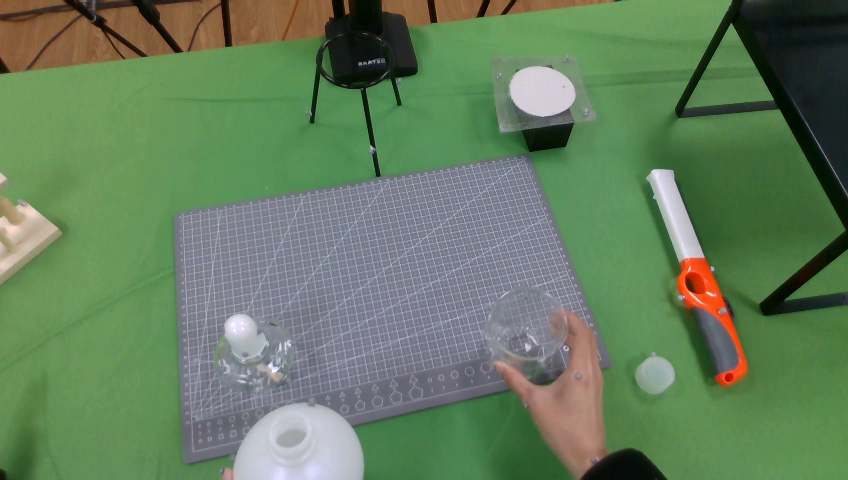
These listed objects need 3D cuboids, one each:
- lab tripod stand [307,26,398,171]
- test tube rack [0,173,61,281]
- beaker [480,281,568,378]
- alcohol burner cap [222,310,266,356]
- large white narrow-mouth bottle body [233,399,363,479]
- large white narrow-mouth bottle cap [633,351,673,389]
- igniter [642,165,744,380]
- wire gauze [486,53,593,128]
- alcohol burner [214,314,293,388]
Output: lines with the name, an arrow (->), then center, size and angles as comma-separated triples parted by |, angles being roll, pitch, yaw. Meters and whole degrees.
lab tripod stand -> -0.082, -0.179, 0.748 | 0.148, 0.132, 0.147 | 2, 61, -3
test tube rack -> -0.525, 0.035, 0.639 | 0.066, 0.086, 0.241 | 34, 65, 16
beaker -> 0.096, 0.096, 0.614 | 0.084, 0.101, 0.073 | -11, 63, -4
alcohol burner cap -> -0.170, 0.085, 0.563 | 0.034, 0.048, 0.033 | -1, 56, 1
large white narrow-mouth bottle body -> -0.100, 0.187, 0.490 | 0.102, 0.196, 0.101 | 3, 52, -3
large white narrow-mouth bottle cap -> 0.243, 0.138, 0.647 | 0.038, 0.024, 0.037 | 1, 60, -1
igniter -> 0.310, 0.028, 0.706 | 0.057, 0.025, 0.274 | 0, 60, -14
wire gauze -> 0.146, -0.198, 0.782 | 0.121, 0.011, 0.124 | -4, 60, -4
alcohol burner -> -0.170, 0.102, 0.595 | 0.078, 0.120, 0.077 | 2, 59, -3
